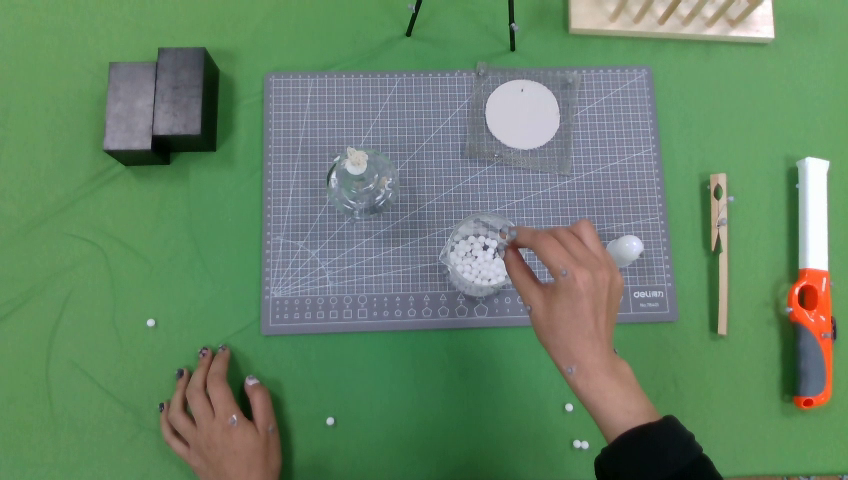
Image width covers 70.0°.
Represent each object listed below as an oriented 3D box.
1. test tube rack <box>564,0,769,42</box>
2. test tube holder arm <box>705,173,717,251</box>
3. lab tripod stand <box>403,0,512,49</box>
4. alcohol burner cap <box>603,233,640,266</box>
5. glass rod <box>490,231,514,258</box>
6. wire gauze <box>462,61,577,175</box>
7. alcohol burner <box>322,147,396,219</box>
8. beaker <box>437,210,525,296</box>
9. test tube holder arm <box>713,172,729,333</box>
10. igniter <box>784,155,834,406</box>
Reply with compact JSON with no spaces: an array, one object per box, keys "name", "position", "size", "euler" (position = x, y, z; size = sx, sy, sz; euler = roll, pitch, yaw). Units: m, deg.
[{"name":"test tube rack","position":[0.290,-0.283,0.691],"size":[0.242,0.085,0.066],"euler":[2,79,-1]},{"name":"test tube holder arm","position":[0.324,-0.031,0.680],"size":[0.010,0.015,0.087],"euler":[-5,78,34]},{"name":"lab tripod stand","position":[0.045,-0.280,0.659],"size":[0.148,0.132,0.148],"euler":[0,81,-1]},{"name":"alcohol burner cap","position":[0.215,0.008,0.653],"size":[0.034,0.048,0.033],"euler":[0,79,-1]},{"name":"glass rod","position":[0.070,0.006,0.562],"size":[0.008,0.200,0.008],"euler":[0,84,2]},{"name":"wire gauze","position":[0.110,-0.143,0.696],"size":[0.125,0.011,0.121],"euler":[9,80,-1]},{"name":"alcohol burner","position":[-0.068,-0.064,0.621],"size":[0.078,0.119,0.077],"euler":[0,78,1]},{"name":"beaker","position":[0.053,0.019,0.617],"size":[0.084,0.100,0.073],"euler":[-9,79,-3]},{"name":"test tube holder arm","position":[0.327,0.012,0.669],"size":[0.013,0.015,0.177],"euler":[-6,77,33]},{"name":"igniter","position":[0.421,0.041,0.663],"size":[0.057,0.025,0.275],"euler":[8,79,-10]}]
